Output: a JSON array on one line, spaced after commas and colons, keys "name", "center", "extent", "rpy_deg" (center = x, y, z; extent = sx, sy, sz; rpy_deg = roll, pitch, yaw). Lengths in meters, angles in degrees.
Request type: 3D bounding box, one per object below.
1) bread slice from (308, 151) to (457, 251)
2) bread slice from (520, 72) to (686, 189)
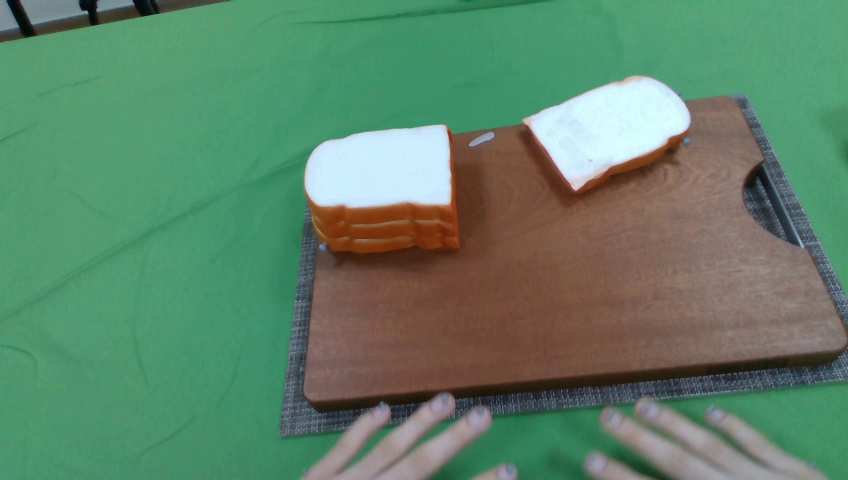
[{"name": "bread slice", "center": [-0.038, -0.037, 0.551], "extent": [0.134, 0.018, 0.106], "rpy_deg": [-2, 51, 4]}, {"name": "bread slice", "center": [0.169, -0.105, 0.555], "extent": [0.131, 0.019, 0.103], "rpy_deg": [-24, 51, -1]}]
